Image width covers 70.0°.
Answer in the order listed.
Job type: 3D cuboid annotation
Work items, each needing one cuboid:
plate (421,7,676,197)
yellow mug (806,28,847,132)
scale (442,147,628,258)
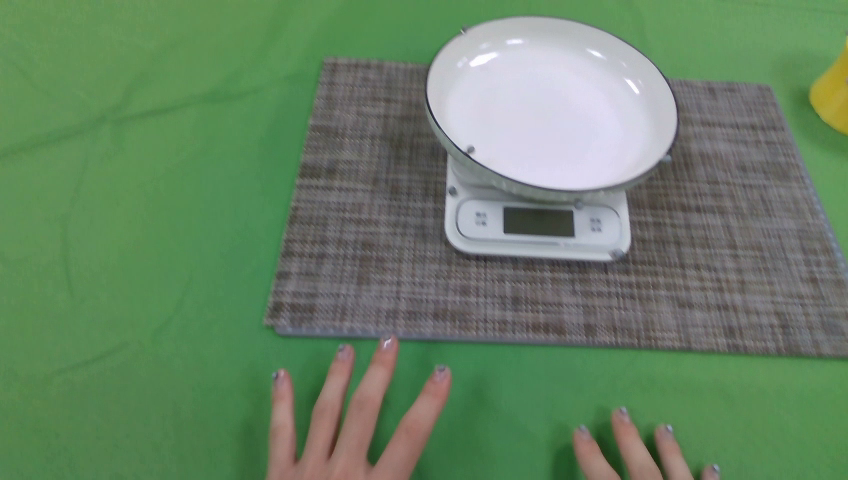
[{"bbox_3d":[0.100,-0.115,0.505,0.209,0.038,0.207,2,57,-3],"label":"plate"},{"bbox_3d":[0.444,-0.146,0.571,0.100,0.064,0.130,-36,66,-23],"label":"yellow mug"},{"bbox_3d":[0.093,-0.078,0.519,0.149,0.032,0.199,4,57,-1],"label":"scale"}]
